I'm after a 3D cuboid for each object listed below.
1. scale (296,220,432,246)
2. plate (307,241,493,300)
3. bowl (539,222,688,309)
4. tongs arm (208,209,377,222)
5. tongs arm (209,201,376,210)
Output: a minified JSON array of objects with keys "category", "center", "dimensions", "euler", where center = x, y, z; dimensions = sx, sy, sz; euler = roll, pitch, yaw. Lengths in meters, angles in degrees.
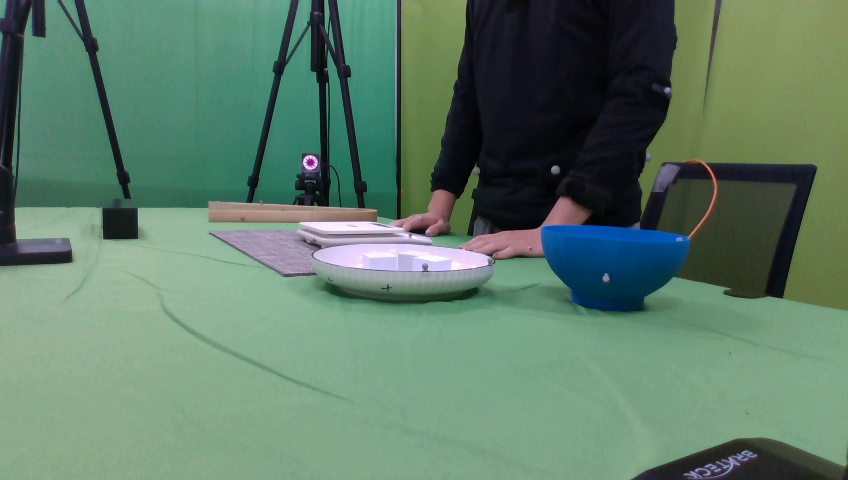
[{"category":"scale","center":[-0.101,-0.012,1.017],"dimensions":[0.202,0.031,0.148],"euler":[-1,9,-30]},{"category":"plate","center":[-0.027,0.034,0.684],"dimensions":[0.208,0.039,0.207],"euler":[2,7,0]},{"category":"bowl","center":[0.196,0.027,0.641],"dimensions":[0.151,0.077,0.151],"euler":[3,7,0]},{"category":"tongs arm","center":[-0.280,-0.056,1.355],"dimensions":[0.389,0.028,0.028],"euler":[-1,6,-28]},{"category":"tongs arm","center":[-0.306,-0.070,1.430],"dimensions":[0.386,0.026,0.050],"euler":[2,8,-15]}]
